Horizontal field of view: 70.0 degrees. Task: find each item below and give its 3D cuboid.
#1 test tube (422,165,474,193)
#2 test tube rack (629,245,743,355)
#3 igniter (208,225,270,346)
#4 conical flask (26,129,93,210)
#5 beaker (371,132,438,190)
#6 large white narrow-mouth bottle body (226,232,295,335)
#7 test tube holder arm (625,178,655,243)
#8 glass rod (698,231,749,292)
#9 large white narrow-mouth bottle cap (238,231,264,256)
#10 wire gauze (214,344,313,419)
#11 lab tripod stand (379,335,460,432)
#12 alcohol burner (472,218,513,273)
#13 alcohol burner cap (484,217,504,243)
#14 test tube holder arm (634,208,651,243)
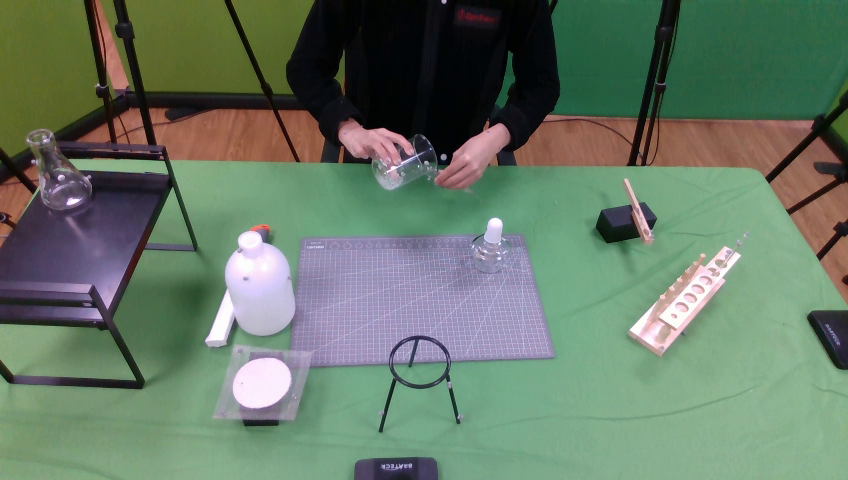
[{"bbox_3d":[0.050,-0.118,1.189,0.151,0.017,0.017,17,29,-47],"label":"test tube"},{"bbox_3d":[0.474,0.095,1.091,0.242,0.085,0.066,-34,56,-31],"label":"test tube rack"},{"bbox_3d":[-0.331,0.072,1.099,0.057,0.025,0.275,-4,45,10],"label":"igniter"},{"bbox_3d":[-0.575,-0.113,0.946,0.075,0.122,0.075,2,46,-2],"label":"conical flask"},{"bbox_3d":[-0.037,-0.137,1.090,0.100,0.084,0.073,-29,54,-22],"label":"beaker"},{"bbox_3d":[-0.270,0.065,0.995,0.102,0.195,0.101,2,46,-2],"label":"large white narrow-mouth bottle body"},{"bbox_3d":[0.433,-0.063,1.220,0.013,0.015,0.177,1,47,-3],"label":"test tube holder arm"},{"bbox_3d":[0.515,0.044,1.051,0.008,0.200,0.008,1,55,-1],"label":"glass rod"},{"bbox_3d":[-0.266,0.006,0.932,0.038,0.024,0.037,2,46,-2],"label":"large white narrow-mouth bottle cap"},{"bbox_3d":[-0.241,0.213,0.915,0.121,0.011,0.124,5,46,1],"label":"wire gauze"},{"bbox_3d":[-0.010,0.214,0.911,0.148,0.132,0.147,1,45,0],"label":"lab tripod stand"},{"bbox_3d":[0.128,0.005,1.132,0.078,0.120,0.077,0,47,0],"label":"alcohol burner"},{"bbox_3d":[0.129,-0.021,1.107,0.034,0.048,0.033,4,41,-3],"label":"alcohol burner cap"},{"bbox_3d":[0.428,-0.030,1.189,0.010,0.015,0.087,1,47,-2],"label":"test tube holder arm"}]
